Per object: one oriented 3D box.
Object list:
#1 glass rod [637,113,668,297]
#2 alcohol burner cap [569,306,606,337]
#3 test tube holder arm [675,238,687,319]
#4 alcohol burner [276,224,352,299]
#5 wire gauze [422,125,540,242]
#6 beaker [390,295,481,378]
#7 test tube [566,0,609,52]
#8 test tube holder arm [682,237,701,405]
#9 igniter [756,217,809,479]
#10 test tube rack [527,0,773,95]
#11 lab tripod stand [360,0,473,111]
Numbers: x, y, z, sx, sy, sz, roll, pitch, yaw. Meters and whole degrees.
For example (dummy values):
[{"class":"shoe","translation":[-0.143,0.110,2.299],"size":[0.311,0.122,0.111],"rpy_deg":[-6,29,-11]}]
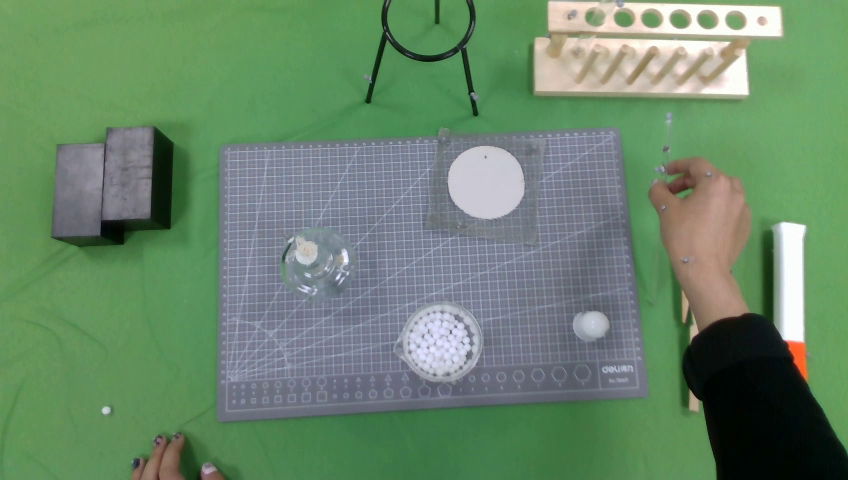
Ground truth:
[{"class":"glass rod","translation":[0.234,-0.030,0.622],"size":[0.008,0.008,0.201],"rpy_deg":[-2,114,-2]},{"class":"alcohol burner cap","translation":[0.173,0.084,0.633],"size":[0.034,0.048,0.033],"rpy_deg":[0,79,0]},{"class":"test tube holder arm","translation":[0.281,0.041,0.658],"size":[0.010,0.015,0.087],"rpy_deg":[-6,78,36]},{"class":"alcohol burner","translation":[-0.113,0.019,0.603],"size":[0.078,0.119,0.077],"rpy_deg":[0,79,1]},{"class":"wire gauze","translation":[0.065,-0.065,0.675],"size":[0.125,0.011,0.121],"rpy_deg":[8,81,0]},{"class":"beaker","translation":[0.011,0.098,0.598],"size":[0.084,0.100,0.073],"rpy_deg":[-11,79,-2]},{"class":"test tube","translation":[0.173,-0.234,0.620],"size":[0.017,0.150,0.017],"rpy_deg":[1,80,-3]},{"class":"test tube holder arm","translation":[0.285,0.085,0.647],"size":[0.013,0.015,0.177],"rpy_deg":[-8,77,35]},{"class":"igniter","translation":[0.379,0.112,0.642],"size":[0.057,0.025,0.275],"rpy_deg":[7,80,-10]},{"class":"test tube rack","translation":[0.241,-0.209,0.667],"size":[0.242,0.085,0.066],"rpy_deg":[1,79,-1]},{"class":"lab tripod stand","translation":[-0.005,-0.200,0.637],"size":[0.148,0.132,0.148],"rpy_deg":[0,81,-1]}]
